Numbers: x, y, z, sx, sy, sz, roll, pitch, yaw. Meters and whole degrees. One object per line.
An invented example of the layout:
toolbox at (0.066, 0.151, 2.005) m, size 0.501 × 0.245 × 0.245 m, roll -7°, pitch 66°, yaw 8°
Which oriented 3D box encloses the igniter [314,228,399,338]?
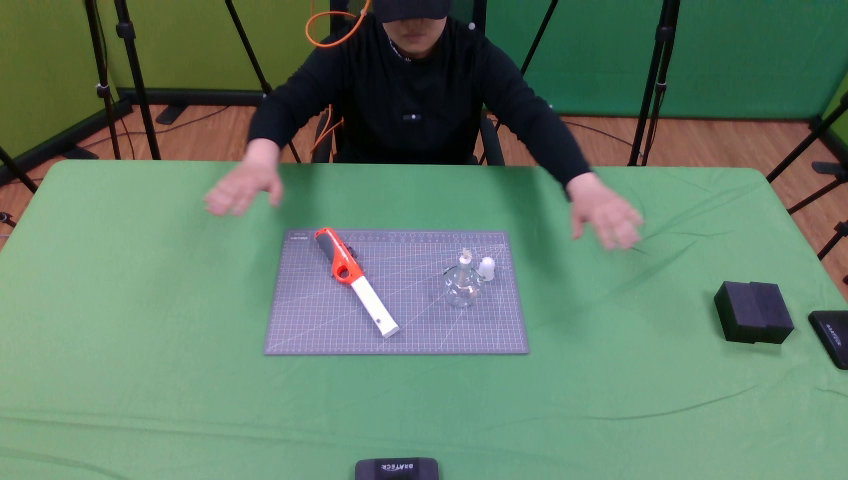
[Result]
igniter at (-0.128, 0.069, 1.111) m, size 0.057 × 0.025 × 0.275 m, roll -36°, pitch 57°, yaw -5°

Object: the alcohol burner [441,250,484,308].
alcohol burner at (0.069, 0.064, 1.075) m, size 0.078 × 0.120 × 0.077 m, roll 1°, pitch 45°, yaw -1°

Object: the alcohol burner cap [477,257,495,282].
alcohol burner cap at (0.118, 0.053, 1.140) m, size 0.034 × 0.048 × 0.033 m, roll 2°, pitch 45°, yaw -2°
